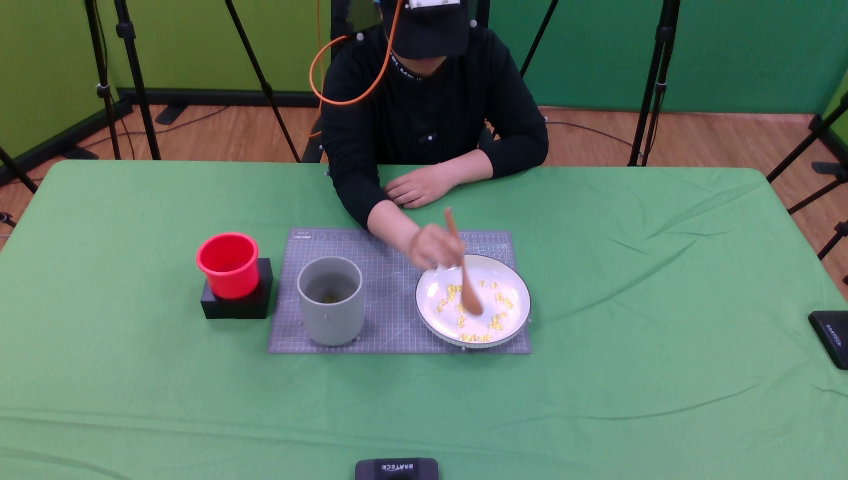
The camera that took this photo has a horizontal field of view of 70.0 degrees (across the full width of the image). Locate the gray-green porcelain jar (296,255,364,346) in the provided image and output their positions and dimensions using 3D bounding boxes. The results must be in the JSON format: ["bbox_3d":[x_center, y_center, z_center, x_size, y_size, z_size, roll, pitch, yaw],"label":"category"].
[{"bbox_3d":[-0.153,0.106,1.008,0.106,0.127,0.105,2,46,-2],"label":"gray-green porcelain jar"}]

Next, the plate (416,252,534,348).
[{"bbox_3d":[0.090,0.109,1.084,0.208,0.039,0.206,2,46,-2],"label":"plate"}]

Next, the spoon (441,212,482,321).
[{"bbox_3d":[0.058,0.046,1.002,0.041,0.194,0.021,-9,9,38],"label":"spoon"}]
